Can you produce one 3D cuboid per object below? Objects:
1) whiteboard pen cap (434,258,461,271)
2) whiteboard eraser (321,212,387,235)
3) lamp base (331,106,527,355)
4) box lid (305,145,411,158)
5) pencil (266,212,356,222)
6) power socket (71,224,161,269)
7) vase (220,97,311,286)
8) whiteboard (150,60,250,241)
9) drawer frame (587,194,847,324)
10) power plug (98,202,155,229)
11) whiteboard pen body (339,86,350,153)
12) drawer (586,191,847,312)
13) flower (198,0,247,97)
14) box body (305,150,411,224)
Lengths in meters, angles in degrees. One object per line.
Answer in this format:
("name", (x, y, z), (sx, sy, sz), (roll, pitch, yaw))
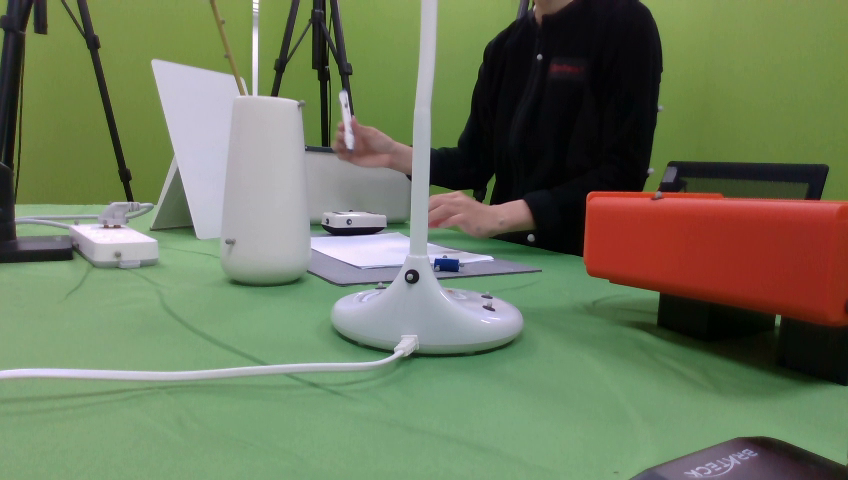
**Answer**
("whiteboard pen cap", (0.030, 0.031, 0.770), (0.033, 0.018, 0.018), (4, 8, 8))
("whiteboard eraser", (-0.128, -0.031, 1.108), (0.113, 0.042, 0.055), (-3, 7, -38))
("lamp base", (0.006, -0.012, 0.478), (0.161, 0.180, 0.179), (2, 10, 2))
("box lid", (-0.228, -0.200, 1.362), (0.373, 0.015, 0.262), (-1, 8, -33))
("pencil", (-0.244, -0.049, 1.318), (0.195, 0.012, 0.012), (4, 7, -12))
("power socket", (-0.408, 0.004, 0.793), (0.072, 0.032, 0.225), (-2, 8, -38))
("vase", (-0.172, -0.052, 0.662), (0.098, 0.200, 0.098), (3, 8, 0))
("whiteboard", (-0.408, -0.139, 1.093), (0.143, 0.305, 0.218), (-15, -1, 26))
("drawer frame", (0.285, 0.004, 0.508), (0.203, 0.082, 0.212), (-1, 6, -29))
("power plug", (-0.416, -0.027, 0.848), (0.073, 0.052, 0.035), (0, 8, -28))
("whiteboard pen body", (-0.139, -0.212, 1.062), (0.017, 0.140, 0.017), (-5, -25, -2))
("drawer", (0.281, 0.001, 0.513), (0.195, 0.073, 0.210), (-1, 8, -29))
("flower", (-0.187, -0.133, 0.648), (0.038, 0.362, 0.044), (-1, 21, 43))
("box body", (-0.230, -0.126, 1.372), (0.366, 0.160, 0.253), (-2, 9, -33))
